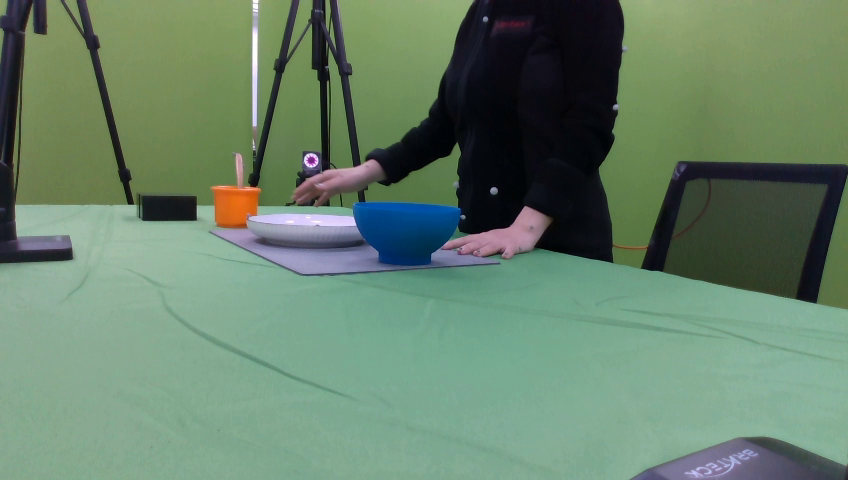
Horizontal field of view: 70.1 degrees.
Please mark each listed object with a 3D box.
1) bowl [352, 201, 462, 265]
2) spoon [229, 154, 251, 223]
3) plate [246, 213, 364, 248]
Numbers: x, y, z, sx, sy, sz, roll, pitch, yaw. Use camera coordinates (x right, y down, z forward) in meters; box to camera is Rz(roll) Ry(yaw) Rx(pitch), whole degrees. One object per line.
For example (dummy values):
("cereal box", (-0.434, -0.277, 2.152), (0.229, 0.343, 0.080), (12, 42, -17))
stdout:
("bowl", (-0.025, -0.009, 0.831), (0.151, 0.077, 0.151), (3, 7, 0))
("spoon", (-0.367, -0.106, 1.208), (0.042, 0.193, 0.021), (2, -37, -20))
("plate", (-0.184, -0.017, 0.994), (0.209, 0.038, 0.209), (3, 8, 0))
